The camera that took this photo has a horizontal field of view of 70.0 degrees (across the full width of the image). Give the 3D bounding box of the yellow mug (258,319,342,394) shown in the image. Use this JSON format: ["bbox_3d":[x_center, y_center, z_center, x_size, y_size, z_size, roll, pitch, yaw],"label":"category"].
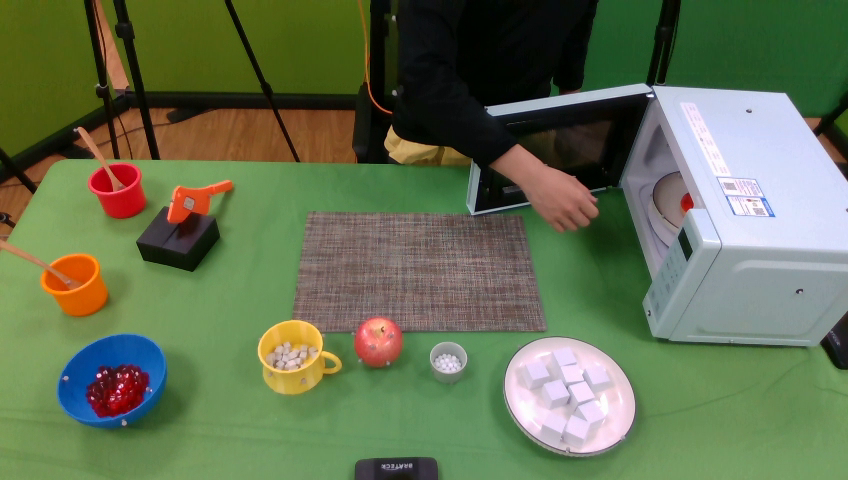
[{"bbox_3d":[-0.195,0.188,0.972,0.131,0.064,0.099,9,47,4],"label":"yellow mug"}]

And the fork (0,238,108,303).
[{"bbox_3d":[-0.633,0.048,1.017,0.208,0.018,0.028,40,44,-27],"label":"fork"}]

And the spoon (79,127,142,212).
[{"bbox_3d":[-0.624,-0.140,1.203,0.041,0.021,0.194,-33,100,-26],"label":"spoon"}]

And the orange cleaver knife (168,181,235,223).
[{"bbox_3d":[-0.436,-0.078,1.196,0.012,0.077,0.211,16,15,10],"label":"orange cleaver knife"}]

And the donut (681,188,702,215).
[{"bbox_3d":[0.554,-0.064,1.185,0.099,0.048,0.098,1,44,-1],"label":"donut"}]

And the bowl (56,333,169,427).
[{"bbox_3d":[-0.456,0.223,0.912,0.151,0.077,0.150,3,46,-2],"label":"bowl"}]

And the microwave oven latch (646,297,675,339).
[{"bbox_3d":[0.412,0.134,1.061,0.030,0.029,0.078,4,45,1],"label":"microwave oven latch"}]

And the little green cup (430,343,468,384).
[{"bbox_3d":[0.039,0.203,0.994,0.061,0.039,0.061,2,46,-2],"label":"little green cup"}]

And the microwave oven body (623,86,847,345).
[{"bbox_3d":[0.567,-0.053,1.118,0.326,0.261,0.439,2,45,-1],"label":"microwave oven body"}]

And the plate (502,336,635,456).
[{"bbox_3d":[0.225,0.248,0.963,0.208,0.039,0.206,2,46,-2],"label":"plate"}]

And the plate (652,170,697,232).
[{"bbox_3d":[0.555,-0.059,1.196,0.209,0.038,0.208,2,46,-2],"label":"plate"}]

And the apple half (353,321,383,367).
[{"bbox_3d":[-0.097,0.177,0.984,0.033,0.081,0.081,-17,49,-24],"label":"apple half"}]

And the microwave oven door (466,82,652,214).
[{"bbox_3d":[0.265,-0.183,1.216,0.356,0.245,0.039,-12,48,-15],"label":"microwave oven door"}]

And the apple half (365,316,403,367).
[{"bbox_3d":[-0.063,0.165,1.000,0.053,0.075,0.080,-16,45,-24],"label":"apple half"}]
